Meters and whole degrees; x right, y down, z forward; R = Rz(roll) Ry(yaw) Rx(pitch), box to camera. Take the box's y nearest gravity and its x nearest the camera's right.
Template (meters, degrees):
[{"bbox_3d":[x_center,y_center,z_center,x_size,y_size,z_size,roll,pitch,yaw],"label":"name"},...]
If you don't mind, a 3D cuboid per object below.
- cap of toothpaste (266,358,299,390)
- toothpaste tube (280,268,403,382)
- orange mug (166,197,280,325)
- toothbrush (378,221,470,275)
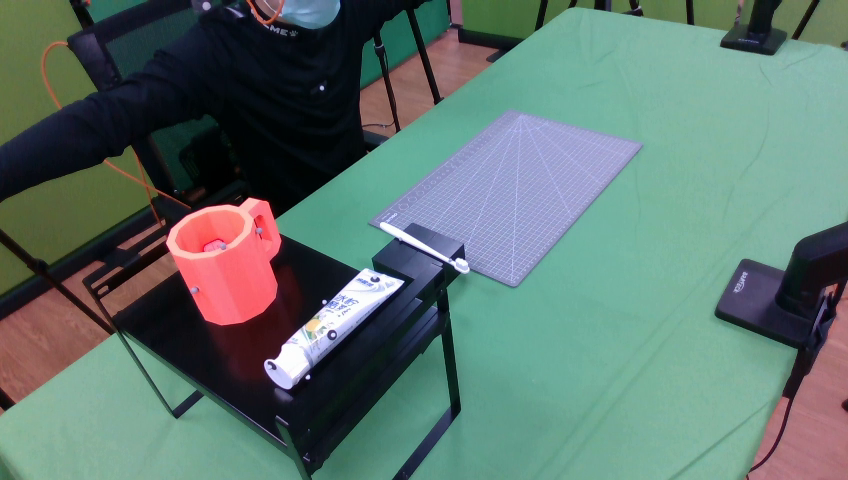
[{"bbox_3d":[-0.130,0.122,0.558,0.037,0.037,0.011,18,42,27],"label":"cap of toothpaste"},{"bbox_3d":[-0.087,0.081,0.609,0.054,0.034,0.165,21,43,24],"label":"toothpaste tube"},{"bbox_3d":[-0.203,0.014,0.650,0.083,0.101,0.126,12,48,22],"label":"orange mug"},{"bbox_3d":[-0.004,0.007,0.894,0.180,0.017,0.014,27,55,34],"label":"toothbrush"}]
